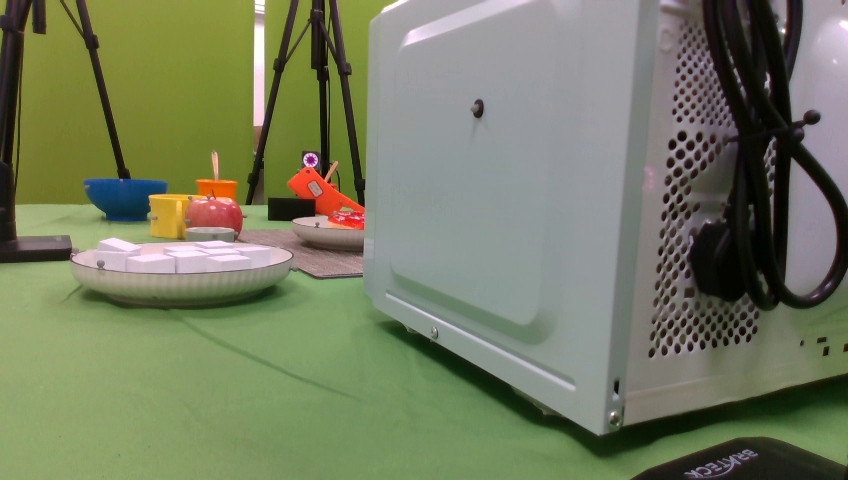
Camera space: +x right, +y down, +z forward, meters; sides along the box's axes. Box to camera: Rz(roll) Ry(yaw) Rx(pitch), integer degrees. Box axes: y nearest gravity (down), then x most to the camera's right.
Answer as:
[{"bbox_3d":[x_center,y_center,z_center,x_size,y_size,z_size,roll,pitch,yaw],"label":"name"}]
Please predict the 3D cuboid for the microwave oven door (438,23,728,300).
[{"bbox_3d":[0.181,-0.072,0.620,0.358,0.243,0.039,-2,8,-29],"label":"microwave oven door"}]

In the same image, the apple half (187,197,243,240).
[{"bbox_3d":[-0.305,-0.026,0.907,0.053,0.074,0.081,12,8,31],"label":"apple half"}]

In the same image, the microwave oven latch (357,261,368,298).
[{"bbox_3d":[-0.019,0.033,0.530,0.079,0.029,0.030,-1,7,-26],"label":"microwave oven latch"}]

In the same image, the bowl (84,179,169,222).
[{"bbox_3d":[-0.584,-0.078,1.194,0.151,0.077,0.151,3,8,0],"label":"bowl"}]

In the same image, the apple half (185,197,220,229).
[{"bbox_3d":[-0.338,-0.031,0.927,0.032,0.081,0.081,12,12,31],"label":"apple half"}]

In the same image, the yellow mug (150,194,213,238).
[{"bbox_3d":[-0.401,-0.040,1.003,0.100,0.064,0.130,-1,9,-20],"label":"yellow mug"}]

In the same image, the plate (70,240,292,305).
[{"bbox_3d":[-0.242,0.031,0.618,0.208,0.039,0.207,2,8,0],"label":"plate"}]

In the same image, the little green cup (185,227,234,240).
[{"bbox_3d":[-0.285,0.005,0.805,0.061,0.038,0.061,2,8,0],"label":"little green cup"}]

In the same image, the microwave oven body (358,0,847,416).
[{"bbox_3d":[0.211,-0.047,0.474,0.444,0.260,0.324,-1,7,-28],"label":"microwave oven body"}]

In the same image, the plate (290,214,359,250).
[{"bbox_3d":[-0.110,-0.014,0.973,0.209,0.038,0.209,3,8,0],"label":"plate"}]

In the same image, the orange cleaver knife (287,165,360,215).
[{"bbox_3d":[-0.211,-0.092,1.382,0.212,0.077,0.012,34,1,-15],"label":"orange cleaver knife"}]

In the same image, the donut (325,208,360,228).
[{"bbox_3d":[-0.110,-0.025,0.974,0.099,0.048,0.099,5,7,0],"label":"donut"}]

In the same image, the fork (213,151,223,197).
[{"bbox_3d":[-0.493,-0.143,1.442,0.028,0.018,0.206,-3,52,-18],"label":"fork"}]

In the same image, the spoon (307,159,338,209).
[{"bbox_3d":[-0.257,-0.147,1.567,0.041,0.022,0.193,1,51,20],"label":"spoon"}]
